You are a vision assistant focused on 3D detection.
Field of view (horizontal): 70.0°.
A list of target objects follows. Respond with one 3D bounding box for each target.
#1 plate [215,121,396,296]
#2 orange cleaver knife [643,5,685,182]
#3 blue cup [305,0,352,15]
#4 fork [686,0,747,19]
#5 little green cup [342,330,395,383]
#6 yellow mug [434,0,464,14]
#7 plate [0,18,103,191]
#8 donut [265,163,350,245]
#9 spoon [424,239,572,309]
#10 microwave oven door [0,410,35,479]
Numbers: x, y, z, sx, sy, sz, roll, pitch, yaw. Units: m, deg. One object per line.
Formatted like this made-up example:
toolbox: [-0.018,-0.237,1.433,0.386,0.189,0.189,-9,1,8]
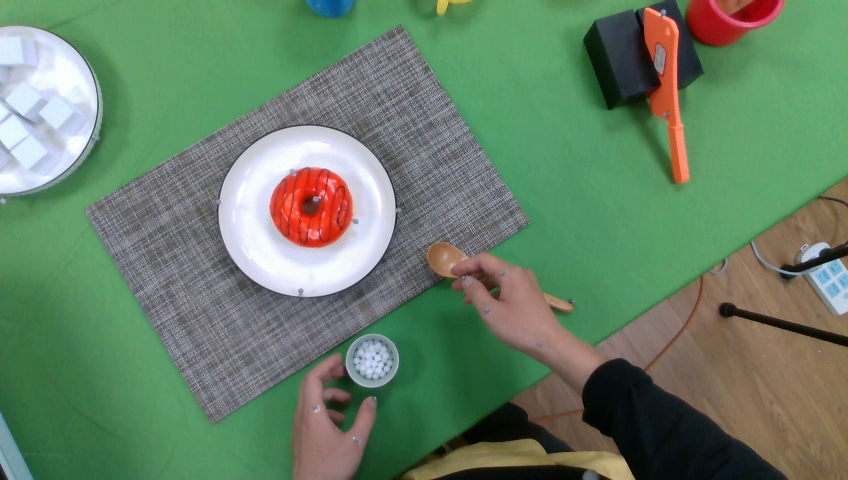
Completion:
plate: [-0.139,-0.037,0.721,0.209,0.038,0.208,0,85,-2]
orange cleaver knife: [0.288,-0.174,0.732,0.012,0.076,0.213,-17,115,-2]
blue cup: [-0.118,-0.318,0.721,0.093,0.100,0.092,0,85,-3]
fork: [0.420,-0.303,0.717,0.206,0.019,0.028,-7,81,39]
little green cup: [-0.063,0.136,0.710,0.061,0.039,0.061,0,82,1]
yellow mug: [0.034,-0.343,0.746,0.100,0.064,0.130,16,85,0]
plate: [-0.485,-0.158,0.723,0.208,0.039,0.207,0,84,-2]
donut: [-0.135,-0.042,0.710,0.099,0.048,0.099,0,87,-1]
spoon: [0.090,0.047,0.731,0.194,0.022,0.041,21,68,-1]
microwave oven door: [-0.461,0.242,0.565,0.039,0.244,0.355,-29,86,-4]
